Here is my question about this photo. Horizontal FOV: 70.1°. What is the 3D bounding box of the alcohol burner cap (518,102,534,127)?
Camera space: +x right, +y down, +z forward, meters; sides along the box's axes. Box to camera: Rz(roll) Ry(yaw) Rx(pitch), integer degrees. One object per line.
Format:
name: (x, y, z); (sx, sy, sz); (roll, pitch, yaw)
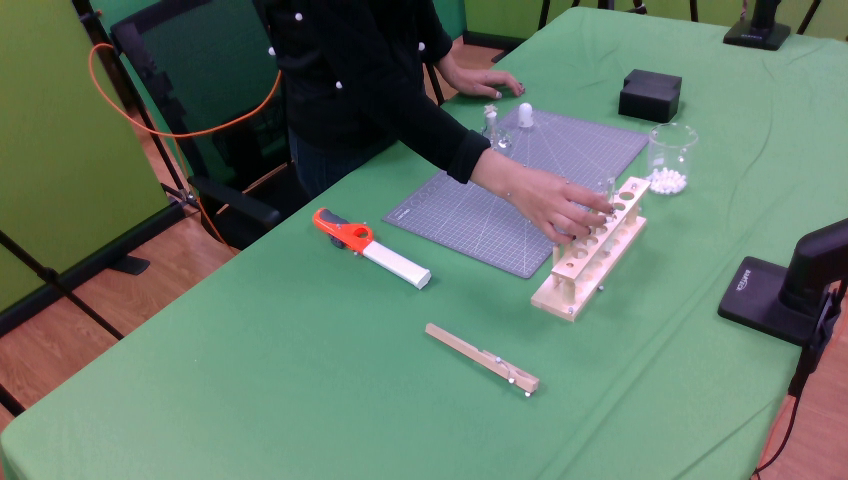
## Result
alcohol burner cap: (0.205, -0.255, 1.223); (0.034, 0.048, 0.033); (-6, 40, 5)

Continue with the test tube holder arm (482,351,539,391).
test tube holder arm: (0.106, 0.166, 0.769); (0.087, 0.015, 0.010); (24, 15, 34)

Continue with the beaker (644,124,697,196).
beaker: (0.407, -0.132, 1.001); (0.084, 0.101, 0.073); (-20, 41, -14)

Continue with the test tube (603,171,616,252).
test tube: (0.260, -0.036, 0.847); (0.017, 0.151, 0.017); (-8, 45, 9)

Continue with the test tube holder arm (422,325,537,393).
test tube holder arm: (0.068, 0.152, 0.789); (0.177, 0.015, 0.013); (23, 15, 32)

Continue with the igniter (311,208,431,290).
igniter: (-0.096, 0.008, 0.985); (0.274, 0.025, 0.057); (29, 63, 36)

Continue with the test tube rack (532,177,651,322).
test tube rack: (0.248, 0.003, 0.883); (0.066, 0.085, 0.243); (22, 49, 32)

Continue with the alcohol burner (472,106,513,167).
alcohol burner: (0.125, -0.194, 1.111); (0.078, 0.119, 0.077); (-5, 42, 5)
